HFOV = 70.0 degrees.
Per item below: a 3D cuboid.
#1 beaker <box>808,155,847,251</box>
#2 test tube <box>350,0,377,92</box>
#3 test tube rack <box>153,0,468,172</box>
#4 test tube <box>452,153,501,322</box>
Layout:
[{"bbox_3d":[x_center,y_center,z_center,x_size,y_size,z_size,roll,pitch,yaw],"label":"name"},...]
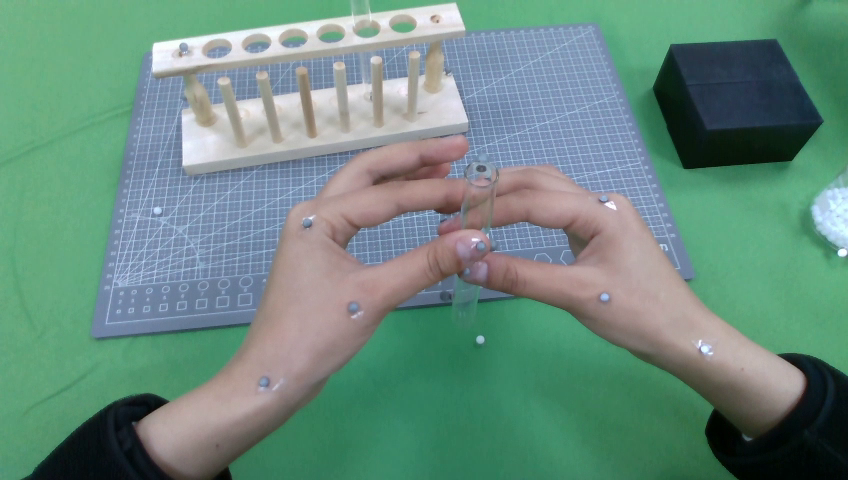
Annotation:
[{"bbox_3d":[0.349,-0.043,0.458,0.074,0.101,0.083,-4,58,-3],"label":"beaker"},{"bbox_3d":[-0.049,-0.178,0.477,0.017,0.151,0.017,-1,54,2],"label":"test tube"},{"bbox_3d":[-0.086,-0.128,0.505,0.243,0.086,0.066,-10,59,-7],"label":"test tube rack"},{"bbox_3d":[0.025,0.008,0.321,0.017,0.152,0.017,0,58,0],"label":"test tube"}]
